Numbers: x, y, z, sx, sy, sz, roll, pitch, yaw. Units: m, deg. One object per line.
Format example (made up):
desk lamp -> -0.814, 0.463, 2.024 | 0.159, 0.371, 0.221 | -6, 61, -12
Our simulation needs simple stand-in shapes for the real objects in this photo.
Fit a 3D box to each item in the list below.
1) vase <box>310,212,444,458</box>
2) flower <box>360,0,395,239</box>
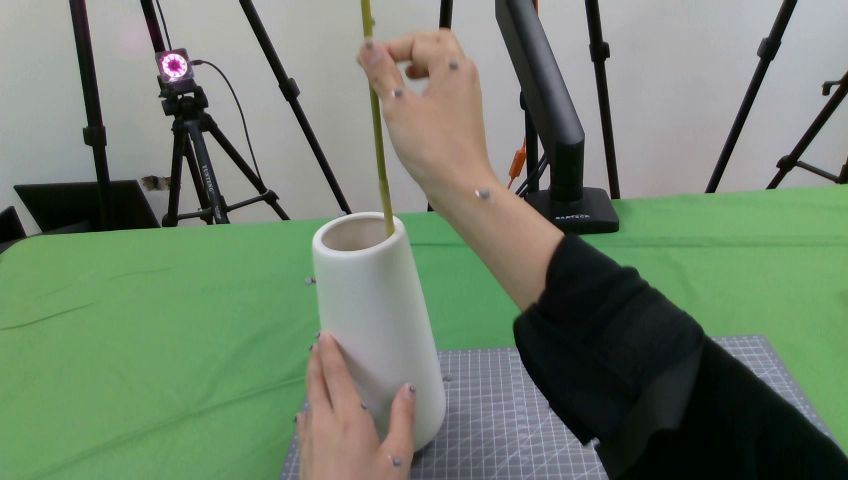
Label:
vase -> -0.038, 0.080, 0.491 | 0.098, 0.201, 0.097 | -4, 28, 3
flower -> -0.029, -0.072, 0.403 | 0.038, 0.364, 0.044 | 5, 27, 19
